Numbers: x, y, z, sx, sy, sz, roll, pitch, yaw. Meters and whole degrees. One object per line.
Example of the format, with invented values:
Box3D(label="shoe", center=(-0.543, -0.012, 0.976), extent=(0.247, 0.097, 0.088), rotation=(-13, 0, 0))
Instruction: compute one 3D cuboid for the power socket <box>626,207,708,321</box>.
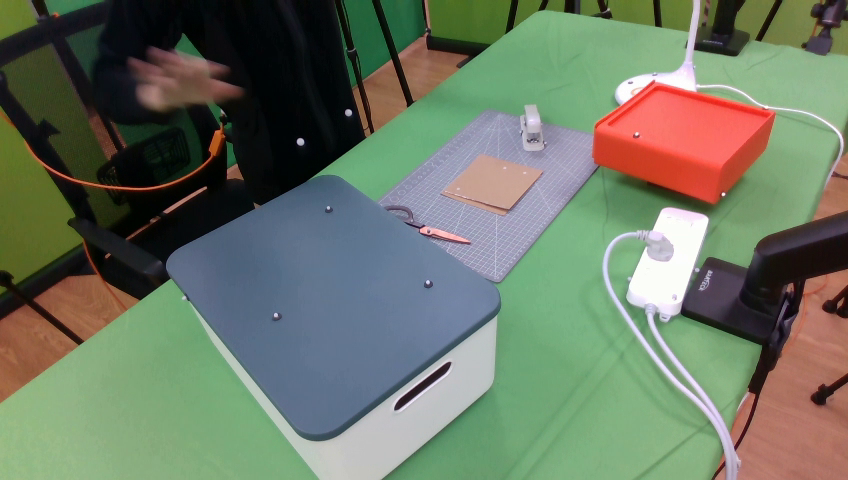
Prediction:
Box3D(label="power socket", center=(0.360, 0.026, 0.886), extent=(0.072, 0.033, 0.227), rotation=(16, 46, 26))

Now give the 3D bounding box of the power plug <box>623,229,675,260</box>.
Box3D(label="power plug", center=(0.327, 0.007, 0.878), extent=(0.072, 0.053, 0.035), rotation=(25, 51, 33))

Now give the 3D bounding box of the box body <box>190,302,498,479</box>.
Box3D(label="box body", center=(-0.110, 0.103, 0.761), extent=(0.255, 0.161, 0.361), rotation=(-33, 46, -27))

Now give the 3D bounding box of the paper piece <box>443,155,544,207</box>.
Box3D(label="paper piece", center=(0.127, -0.109, 1.091), extent=(0.137, 0.009, 0.136), rotation=(19, 42, 30))

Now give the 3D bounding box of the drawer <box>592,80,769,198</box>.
Box3D(label="drawer", center=(0.422, -0.174, 1.007), extent=(0.210, 0.073, 0.195), rotation=(30, 52, 35))

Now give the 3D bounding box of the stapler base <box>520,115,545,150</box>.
Box3D(label="stapler base", center=(0.215, -0.222, 1.201), extent=(0.041, 0.024, 0.130), rotation=(0, 39, 4))

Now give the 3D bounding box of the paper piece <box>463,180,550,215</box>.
Box3D(label="paper piece", center=(0.134, -0.096, 1.092), extent=(0.136, 0.004, 0.134), rotation=(-29, 43, -33))

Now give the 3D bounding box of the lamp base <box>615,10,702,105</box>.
Box3D(label="lamp base", center=(0.484, -0.364, 1.211), extent=(0.180, 0.181, 0.159), rotation=(-15, 41, -14))

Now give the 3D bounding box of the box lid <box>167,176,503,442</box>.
Box3D(label="box lid", center=(-0.119, 0.047, 0.714), extent=(0.264, 0.015, 0.368), rotation=(-32, 47, -27))

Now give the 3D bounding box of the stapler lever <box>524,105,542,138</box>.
Box3D(label="stapler lever", center=(0.213, -0.242, 1.186), extent=(0.027, 0.040, 0.117), rotation=(0, 40, 4))

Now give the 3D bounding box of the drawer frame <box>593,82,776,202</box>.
Box3D(label="drawer frame", center=(0.428, -0.171, 1.006), extent=(0.211, 0.083, 0.202), rotation=(29, 51, 36))

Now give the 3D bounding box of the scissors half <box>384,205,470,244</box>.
Box3D(label="scissors half", center=(0.001, -0.024, 1.005), extent=(0.174, 0.013, 0.040), rotation=(22, 56, 25))

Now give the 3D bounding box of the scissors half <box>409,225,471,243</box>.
Box3D(label="scissors half", center=(-0.007, -0.011, 0.992), extent=(0.174, 0.013, 0.040), rotation=(8, 46, 15))
